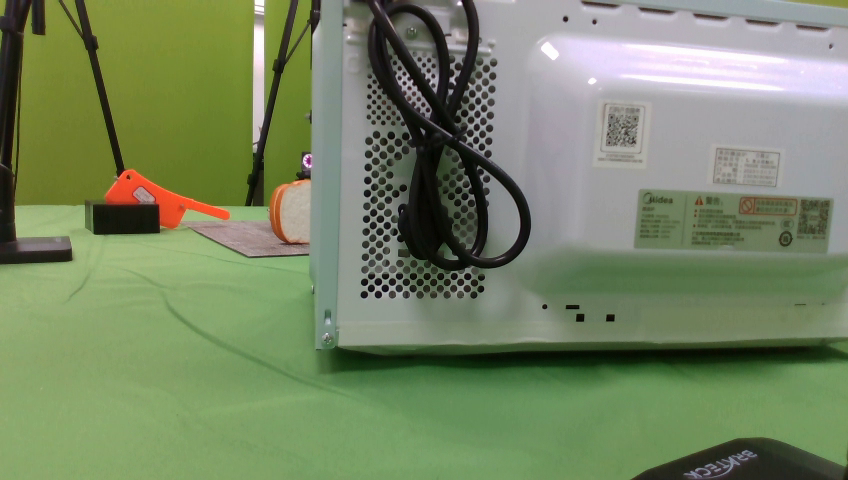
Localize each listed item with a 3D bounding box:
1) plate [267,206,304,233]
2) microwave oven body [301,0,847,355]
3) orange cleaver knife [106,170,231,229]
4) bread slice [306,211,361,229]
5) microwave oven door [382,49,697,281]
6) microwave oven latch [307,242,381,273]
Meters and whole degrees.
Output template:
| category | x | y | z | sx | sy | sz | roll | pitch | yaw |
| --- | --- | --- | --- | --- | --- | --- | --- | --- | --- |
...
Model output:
| category | x | y | z | sx | sy | sz | roll | pitch | yaw |
| --- | --- | --- | --- | --- | --- | --- | --- | --- | --- |
| plate | -0.197 | -0.039 | 1.175 | 0.208 | 0.039 | 0.207 | 2 | 7 | 0 |
| microwave oven body | 0.120 | -0.053 | 0.535 | 0.443 | 0.260 | 0.325 | 2 | 7 | -11 |
| orange cleaver knife | -0.458 | -0.060 | 1.097 | 0.212 | 0.077 | 0.012 | 23 | -5 | -38 |
| bread slice | -0.173 | -0.040 | 1.173 | 0.107 | 0.018 | 0.134 | -1 | 10 | -8 |
| microwave oven door | 0.135 | -0.077 | 0.685 | 0.357 | 0.243 | 0.039 | 1 | 8 | -12 |
| microwave oven latch | -0.086 | 0.019 | 0.656 | 0.079 | 0.029 | 0.030 | 2 | 7 | -10 |
